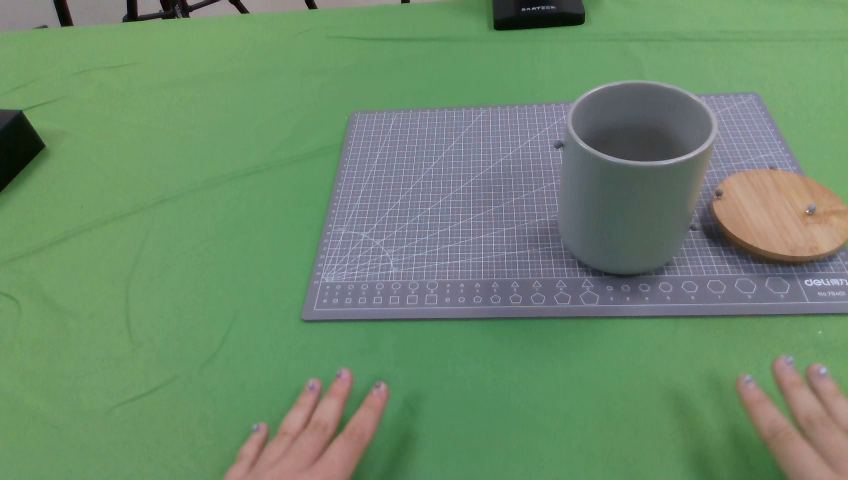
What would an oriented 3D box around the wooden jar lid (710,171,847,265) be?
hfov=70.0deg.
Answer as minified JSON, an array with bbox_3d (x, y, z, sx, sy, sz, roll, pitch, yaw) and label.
[{"bbox_3d":[0.301,-0.018,0.518,0.108,0.021,0.107,-4,45,4],"label":"wooden jar lid"}]

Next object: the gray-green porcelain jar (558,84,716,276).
[{"bbox_3d":[0.162,-0.042,0.483,0.106,0.128,0.105,-4,46,4],"label":"gray-green porcelain jar"}]
